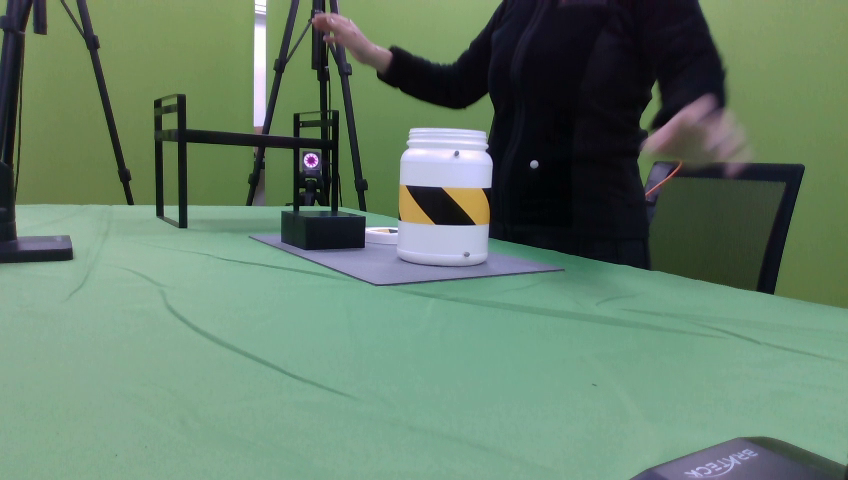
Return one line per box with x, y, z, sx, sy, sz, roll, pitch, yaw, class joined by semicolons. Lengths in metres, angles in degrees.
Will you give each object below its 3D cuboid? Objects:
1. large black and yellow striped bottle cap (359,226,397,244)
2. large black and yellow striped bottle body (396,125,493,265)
-0.056;-0.010;1.053;0.115;0.019;0.115;1;7;0;large black and yellow striped bottle cap
0.029;-0.064;0.847;0.131;0.184;0.130;2;7;0;large black and yellow striped bottle body
